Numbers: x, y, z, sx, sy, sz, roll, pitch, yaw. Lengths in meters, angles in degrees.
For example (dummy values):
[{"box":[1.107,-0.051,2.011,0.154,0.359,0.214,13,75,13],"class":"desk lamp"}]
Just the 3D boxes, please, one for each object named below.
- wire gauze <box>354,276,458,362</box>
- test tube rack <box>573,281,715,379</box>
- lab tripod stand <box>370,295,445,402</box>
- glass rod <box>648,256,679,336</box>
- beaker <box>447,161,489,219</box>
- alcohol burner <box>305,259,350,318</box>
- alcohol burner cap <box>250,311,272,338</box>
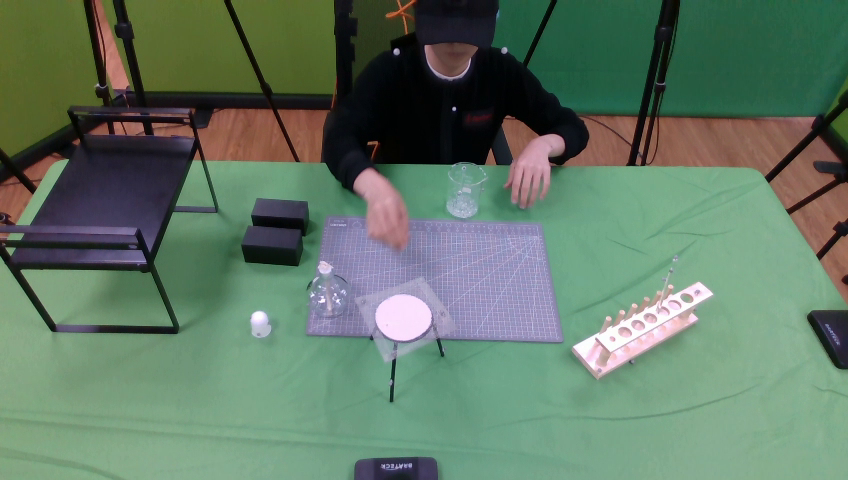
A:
[{"box":[-0.029,0.113,0.912,0.121,0.011,0.124,-18,49,-19],"class":"wire gauze"},{"box":[0.378,0.140,1.038,0.242,0.085,0.066,-22,51,-22],"class":"test tube rack"},{"box":[-0.036,0.160,0.959,0.148,0.132,0.147,1,46,0],"class":"lab tripod stand"},{"box":[0.390,0.095,0.990,0.008,0.201,0.008,-2,45,2],"class":"glass rod"},{"box":[0.087,-0.099,1.244,0.084,0.101,0.073,5,46,1],"class":"beaker"},{"box":[-0.166,0.078,1.040,0.078,0.120,0.077,1,44,-1],"class":"alcohol burner"},{"box":[-0.278,0.141,1.026,0.034,0.048,0.033,1,46,-1],"class":"alcohol burner cap"}]
